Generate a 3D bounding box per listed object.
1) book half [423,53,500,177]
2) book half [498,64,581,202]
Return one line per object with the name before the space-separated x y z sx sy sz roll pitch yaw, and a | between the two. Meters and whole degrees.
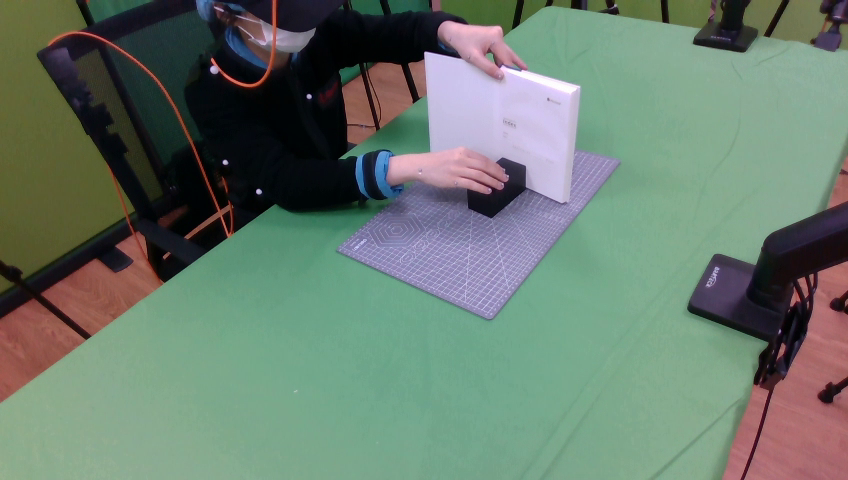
book half | 0.066 -0.215 1.057 0.142 0.211 0.007 18 45 26
book half | 0.183 -0.170 0.991 0.147 0.211 0.016 29 50 34
